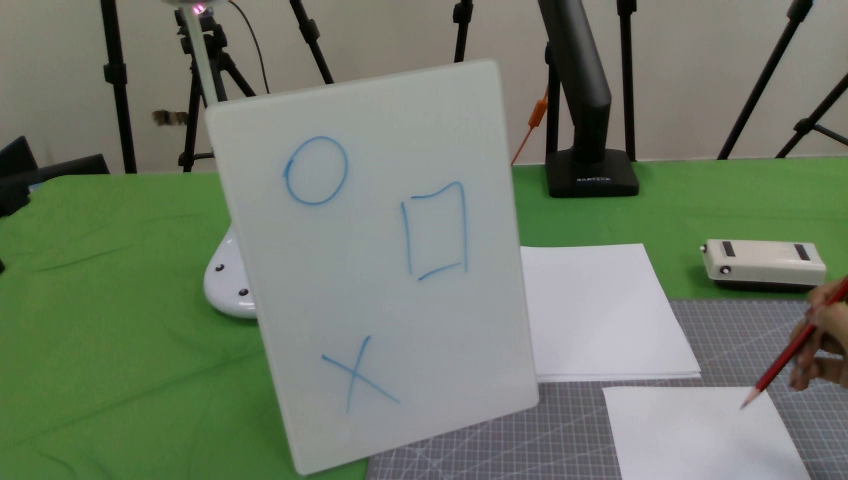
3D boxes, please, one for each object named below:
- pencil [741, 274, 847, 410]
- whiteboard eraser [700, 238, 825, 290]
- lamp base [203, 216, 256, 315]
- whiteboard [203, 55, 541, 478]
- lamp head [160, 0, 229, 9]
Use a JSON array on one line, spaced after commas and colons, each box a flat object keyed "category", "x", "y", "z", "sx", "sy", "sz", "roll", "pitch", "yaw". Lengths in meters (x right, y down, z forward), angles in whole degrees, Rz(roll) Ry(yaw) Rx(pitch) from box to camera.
[{"category": "pencil", "x": 0.290, "y": 0.047, "z": 0.434, "sx": 0.194, "sy": 0.012, "sz": 0.012, "roll": -53, "pitch": 43, "yaw": 5}, {"category": "whiteboard eraser", "x": 0.362, "y": 0.026, "z": 0.654, "sx": 0.112, "sy": 0.042, "sz": 0.055, "roll": 3, "pitch": 36, "yaw": 12}, {"category": "lamp base", "x": -0.194, "y": -0.034, "z": 0.686, "sx": 0.161, "sy": 0.182, "sz": 0.177, "roll": -30, "pitch": 40, "yaw": -32}, {"category": "whiteboard", "x": -0.038, "y": 0.013, "z": 0.540, "sx": 0.217, "sy": 0.307, "sz": 0.143, "roll": -13, "pitch": 16, "yaw": -10}, {"category": "lamp head", "x": -0.198, "y": -0.264, "z": 0.483, "sx": 0.112, "sy": 0.113, "sz": 0.122, "roll": -23, "pitch": 63, "yaw": -24}]
